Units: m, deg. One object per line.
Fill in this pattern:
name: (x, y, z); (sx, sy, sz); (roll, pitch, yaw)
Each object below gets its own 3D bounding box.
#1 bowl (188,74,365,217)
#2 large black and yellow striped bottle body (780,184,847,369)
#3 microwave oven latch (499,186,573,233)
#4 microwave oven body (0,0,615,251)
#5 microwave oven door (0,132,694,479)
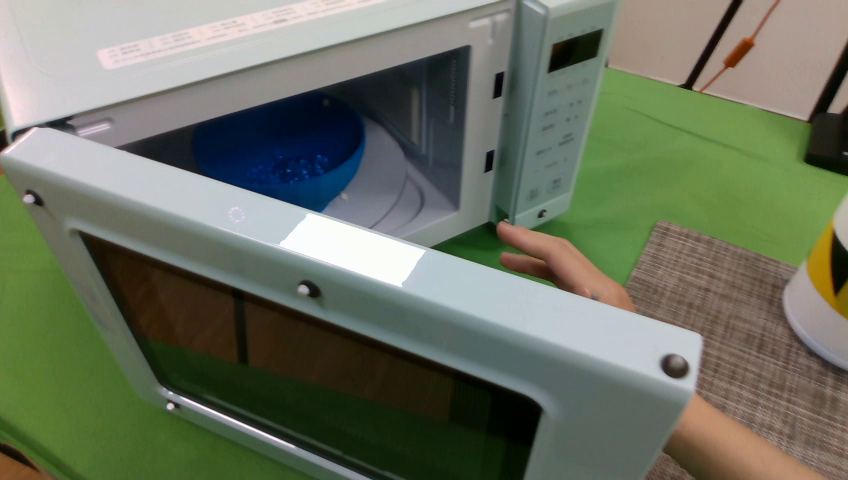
bowl: (-0.127, -0.071, 0.551); (0.151, 0.077, 0.150); (1, 57, -2)
large black and yellow striped bottle body: (0.397, 0.012, 0.497); (0.131, 0.185, 0.129); (1, 45, 0)
microwave oven latch: (0.116, -0.037, 0.627); (0.079, 0.030, 0.030); (-23, 50, -21)
microwave oven body: (-0.113, -0.127, 0.576); (0.442, 0.262, 0.322); (-24, 50, -23)
microwave oven door: (-0.059, 0.081, 0.358); (0.354, 0.246, 0.039); (17, 47, 16)
